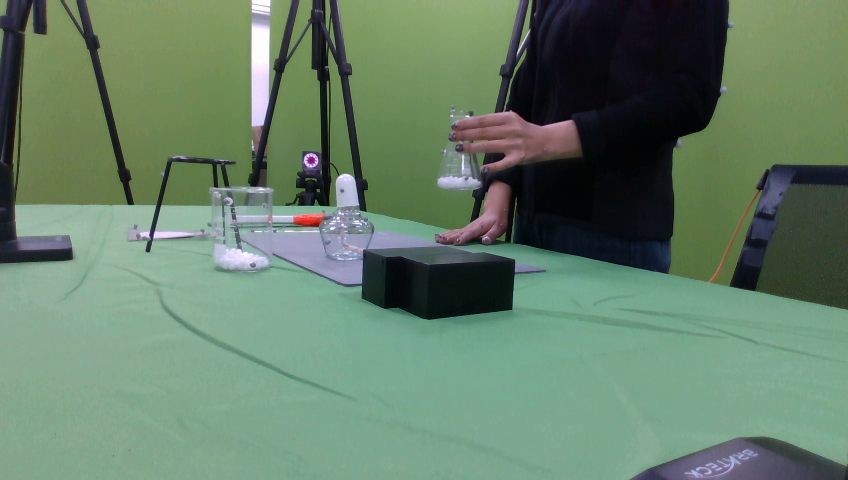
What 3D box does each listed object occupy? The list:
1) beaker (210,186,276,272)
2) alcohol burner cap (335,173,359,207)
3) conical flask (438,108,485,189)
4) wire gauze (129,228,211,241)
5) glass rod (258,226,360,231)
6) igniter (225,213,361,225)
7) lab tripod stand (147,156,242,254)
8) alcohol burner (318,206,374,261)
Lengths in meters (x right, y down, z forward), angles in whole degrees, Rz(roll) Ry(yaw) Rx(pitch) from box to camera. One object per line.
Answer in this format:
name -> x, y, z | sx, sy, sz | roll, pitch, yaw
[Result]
beaker -> -0.224, -0.014, 0.738 | 0.084, 0.100, 0.074 | 4, 7, 16
alcohol burner cap -> -0.108, -0.068, 0.829 | 0.034, 0.048, 0.034 | -7, 4, 1
conical flask -> 0.059, -0.144, 0.946 | 0.075, 0.122, 0.075 | -1, 12, 0
wire gauze -> -0.419, -0.010, 0.999 | 0.122, 0.011, 0.124 | 0, 6, -25
glass rod -> -0.215, -0.022, 1.151 | 0.201, 0.008, 0.008 | -2, 8, -28
igniter -> -0.257, -0.042, 1.221 | 0.278, 0.025, 0.057 | -2, -2, -32
lab tripod stand -> -0.310, -0.050, 0.858 | 0.148, 0.131, 0.148 | 4, 6, 0
alcohol burner -> -0.107, -0.032, 0.833 | 0.078, 0.119, 0.078 | 1, 6, 0
